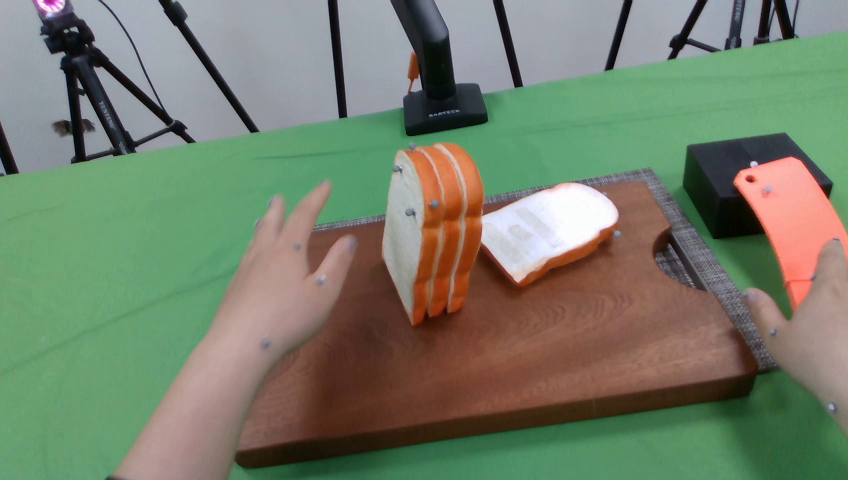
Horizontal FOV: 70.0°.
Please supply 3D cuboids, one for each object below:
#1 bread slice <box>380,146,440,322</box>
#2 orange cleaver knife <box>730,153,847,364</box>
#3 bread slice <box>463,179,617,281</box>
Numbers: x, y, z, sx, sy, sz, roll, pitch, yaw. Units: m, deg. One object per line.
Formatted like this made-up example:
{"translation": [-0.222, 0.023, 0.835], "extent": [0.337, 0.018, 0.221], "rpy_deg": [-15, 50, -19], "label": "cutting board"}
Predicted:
{"translation": [-0.014, -0.013, 0.532], "extent": [0.018, 0.135, 0.106], "rpy_deg": [-5, 34, -20], "label": "bread slice"}
{"translation": [0.324, 0.005, 0.518], "extent": [0.077, 0.012, 0.209], "rpy_deg": [-3, 55, 7], "label": "orange cleaver knife"}
{"translation": [0.118, -0.015, 0.583], "extent": [0.131, 0.019, 0.103], "rpy_deg": [-24, 38, -10], "label": "bread slice"}
